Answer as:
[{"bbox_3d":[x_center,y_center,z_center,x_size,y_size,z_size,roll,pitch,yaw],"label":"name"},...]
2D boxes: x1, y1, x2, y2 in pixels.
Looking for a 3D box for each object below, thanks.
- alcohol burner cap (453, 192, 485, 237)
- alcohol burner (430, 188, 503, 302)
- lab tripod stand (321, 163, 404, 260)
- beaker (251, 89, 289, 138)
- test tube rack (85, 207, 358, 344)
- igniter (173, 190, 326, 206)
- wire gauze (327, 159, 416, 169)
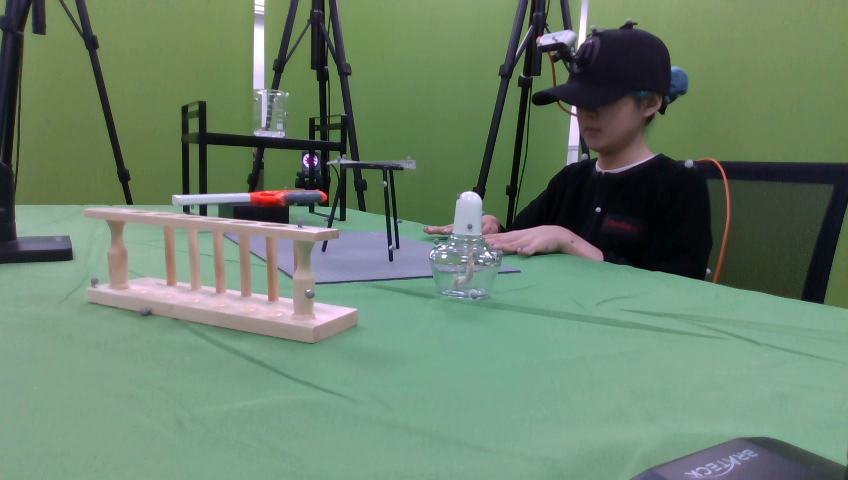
[{"bbox_3d":[0.049,-0.026,0.629,0.034,0.048,0.034,3,6,0],"label":"alcohol burner cap"},{"bbox_3d":[0.046,0.005,0.634,0.078,0.119,0.078,5,7,0],"label":"alcohol burner"},{"bbox_3d":[-0.076,-0.045,0.884,0.148,0.131,0.148,2,5,0],"label":"lab tripod stand"},{"bbox_3d":[-0.334,-0.273,1.316,0.084,0.100,0.074,6,8,15],"label":"beaker"},{"bbox_3d":[-0.177,0.022,0.518,0.241,0.085,0.067,6,7,23],"label":"test tube rack"},{"bbox_3d":[-0.317,-0.079,1.128,0.278,0.025,0.057,-4,13,-32],"label":"igniter"},{"bbox_3d":[-0.072,-0.111,0.872,0.121,0.011,0.125,3,5,-2],"label":"wire gauze"}]
